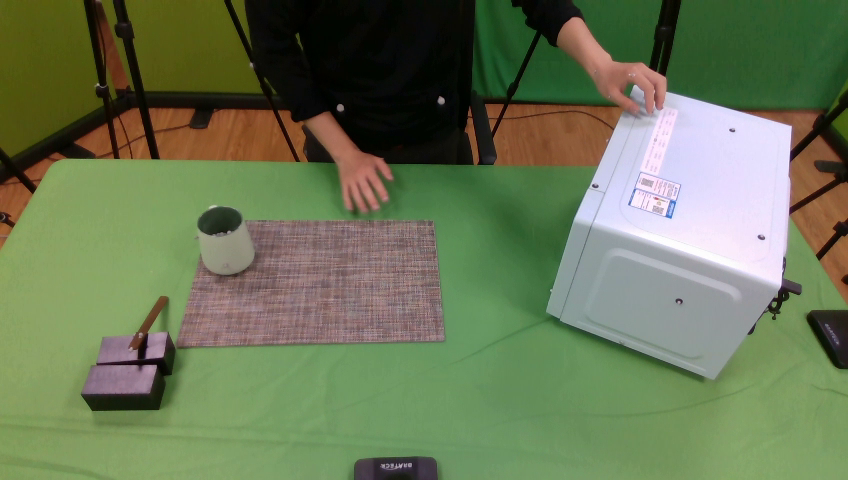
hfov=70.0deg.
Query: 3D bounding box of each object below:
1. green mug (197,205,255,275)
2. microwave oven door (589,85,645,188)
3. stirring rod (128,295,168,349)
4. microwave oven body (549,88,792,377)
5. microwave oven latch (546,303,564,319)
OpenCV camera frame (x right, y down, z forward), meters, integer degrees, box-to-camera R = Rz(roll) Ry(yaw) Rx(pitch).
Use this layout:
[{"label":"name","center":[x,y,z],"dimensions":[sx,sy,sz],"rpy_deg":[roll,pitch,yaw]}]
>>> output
[{"label":"green mug","center":[-0.370,-0.008,1.114],"dimensions":[0.092,0.105,0.124],"rpy_deg":[-19,50,-20]},{"label":"microwave oven door","center":[0.342,-0.107,1.149],"dimensions":[0.039,0.245,0.354],"rpy_deg":[20,48,15]},{"label":"stirring rod","center":[-0.451,0.131,0.996],"dimensions":[0.014,0.006,0.175],"rpy_deg":[9,21,-10]},{"label":"microwave oven body","center":[0.456,-0.028,1.088],"dimensions":[0.325,0.261,0.440],"rpy_deg":[20,47,16]},{"label":"microwave oven latch","center":[0.242,0.102,1.081],"dimensions":[0.030,0.029,0.079],"rpy_deg":[22,48,17]}]
